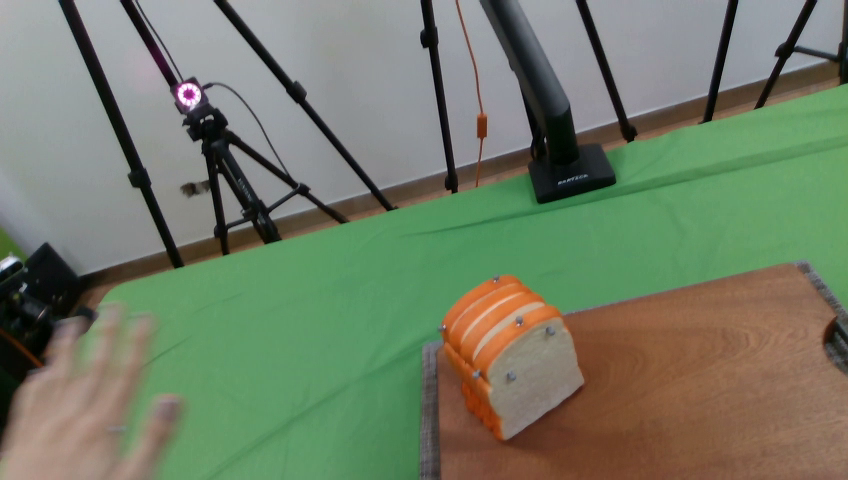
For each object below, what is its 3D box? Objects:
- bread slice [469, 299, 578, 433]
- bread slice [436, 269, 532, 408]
[{"bbox_3d":[0.092,0.115,0.556,0.105,0.133,0.019,-34,42,-12],"label":"bread slice"},{"bbox_3d":[0.069,0.093,0.596,0.107,0.135,0.018,-30,33,-15],"label":"bread slice"}]
